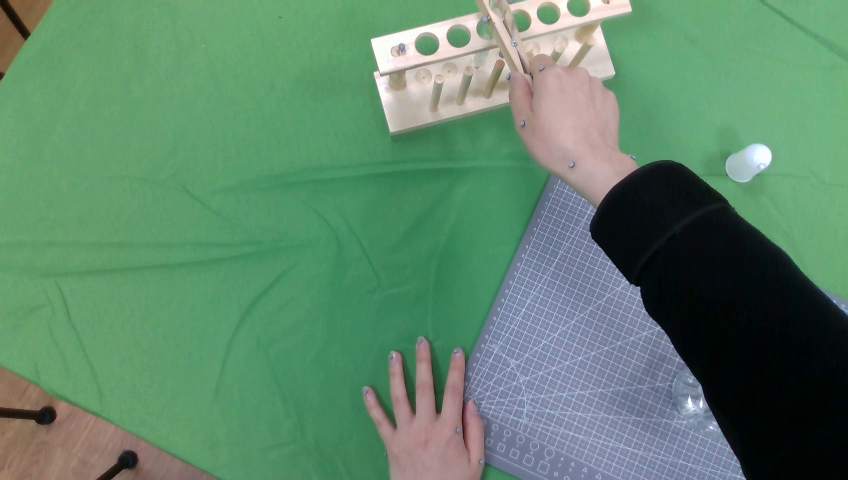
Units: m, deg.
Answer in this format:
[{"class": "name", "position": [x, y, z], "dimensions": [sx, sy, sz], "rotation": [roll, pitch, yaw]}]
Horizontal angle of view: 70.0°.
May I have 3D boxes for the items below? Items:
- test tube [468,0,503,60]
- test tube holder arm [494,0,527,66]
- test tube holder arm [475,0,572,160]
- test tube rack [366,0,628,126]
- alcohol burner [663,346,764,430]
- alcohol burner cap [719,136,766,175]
[{"class": "test tube", "position": [0.060, -0.206, 0.538], "dimensions": [0.017, 0.150, 0.017], "rotation": [2, 74, -7]}, {"class": "test tube holder arm", "position": [0.071, -0.188, 0.527], "dimensions": [0.010, 0.015, 0.087], "rotation": [-11, 74, -13]}, {"class": "test tube holder arm", "position": [0.081, -0.146, 0.515], "dimensions": [0.013, 0.015, 0.177], "rotation": [-19, 76, -14]}, {"class": "test tube rack", "position": [0.071, -0.184, 0.591], "dimensions": [0.242, 0.085, 0.066], "rotation": [-15, 85, -5]}, {"class": "alcohol burner", "position": [0.270, 0.137, 0.555], "dimensions": [0.078, 0.119, 0.077], "rotation": [0, 82, -3]}, {"class": "alcohol burner cap", "position": [0.329, -0.088, 0.619], "dimensions": [0.034, 0.048, 0.033], "rotation": [1, 79, -2]}]
